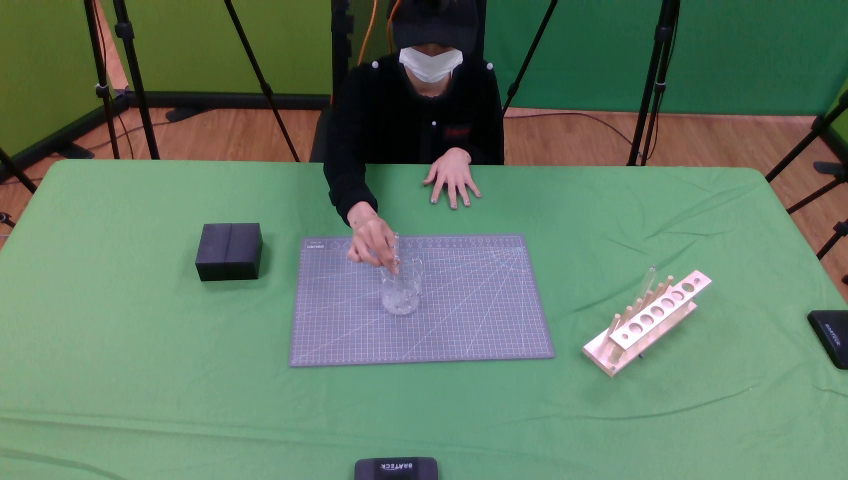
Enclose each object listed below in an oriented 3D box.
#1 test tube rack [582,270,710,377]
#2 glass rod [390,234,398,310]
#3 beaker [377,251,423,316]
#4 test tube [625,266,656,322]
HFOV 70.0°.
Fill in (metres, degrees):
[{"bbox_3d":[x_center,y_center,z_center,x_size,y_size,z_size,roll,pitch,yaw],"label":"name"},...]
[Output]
[{"bbox_3d":[0.389,0.132,1.057,0.242,0.085,0.066,-28,54,-28],"label":"test tube rack"},{"bbox_3d":[-0.051,0.058,1.006,0.008,0.200,0.008,3,49,-3],"label":"glass rod"},{"bbox_3d":[-0.040,0.081,1.060,0.074,0.101,0.083,-32,57,-30],"label":"beaker"},{"bbox_3d":[0.366,0.096,1.027,0.017,0.151,0.017,1,47,0],"label":"test tube"}]
